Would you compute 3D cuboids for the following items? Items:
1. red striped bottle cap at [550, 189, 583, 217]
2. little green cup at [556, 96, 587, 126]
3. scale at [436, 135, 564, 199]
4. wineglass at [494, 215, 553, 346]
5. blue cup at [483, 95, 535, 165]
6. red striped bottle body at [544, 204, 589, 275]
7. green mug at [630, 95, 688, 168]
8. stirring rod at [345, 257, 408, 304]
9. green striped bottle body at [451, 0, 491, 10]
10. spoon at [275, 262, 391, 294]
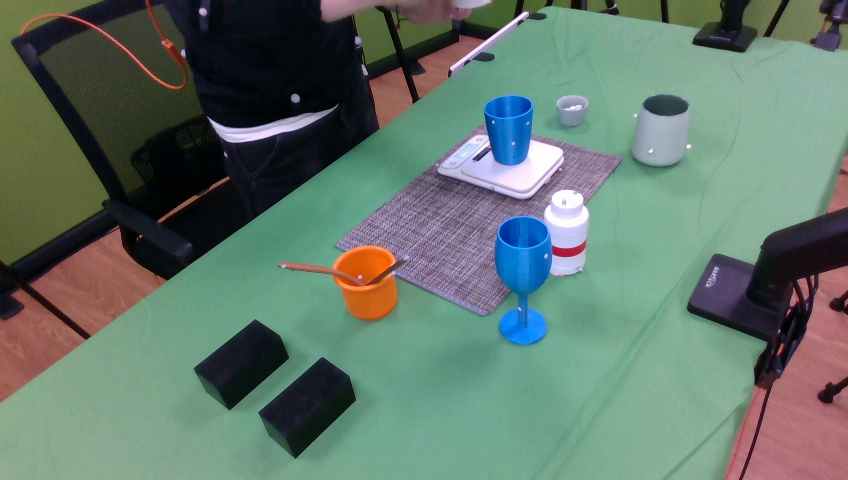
[{"bbox_3d":[0.199,-0.052,0.843,0.044,0.018,0.044,-2,42,2],"label":"red striped bottle cap"},{"bbox_3d":[0.295,-0.258,1.214,0.061,0.039,0.061,-4,42,4],"label":"little green cup"},{"bbox_3d":[0.137,-0.142,1.101,0.199,0.032,0.149,22,48,30],"label":"scale"},{"bbox_3d":[0.127,0.055,0.770,0.074,0.173,0.073,-4,40,4],"label":"wineglass"},{"bbox_3d":[0.148,-0.188,1.053,0.092,0.100,0.092,-6,39,5],"label":"blue cup"},{"bbox_3d":[0.206,-0.011,0.877,0.063,0.120,0.062,-5,41,5],"label":"red striped bottle body"},{"bbox_3d":[0.421,-0.201,1.081,0.092,0.105,0.125,6,42,15],"label":"green mug"},{"bbox_3d":[-0.067,0.057,0.815,0.014,0.175,0.006,-25,82,-38],"label":"stirring rod"},{"bbox_3d":[0.065,-0.405,0.882,0.063,0.120,0.063,-5,41,5],"label":"green striped bottle body"},{"bbox_3d":[-0.120,0.050,0.830,0.041,0.195,0.021,32,97,45],"label":"spoon"}]
